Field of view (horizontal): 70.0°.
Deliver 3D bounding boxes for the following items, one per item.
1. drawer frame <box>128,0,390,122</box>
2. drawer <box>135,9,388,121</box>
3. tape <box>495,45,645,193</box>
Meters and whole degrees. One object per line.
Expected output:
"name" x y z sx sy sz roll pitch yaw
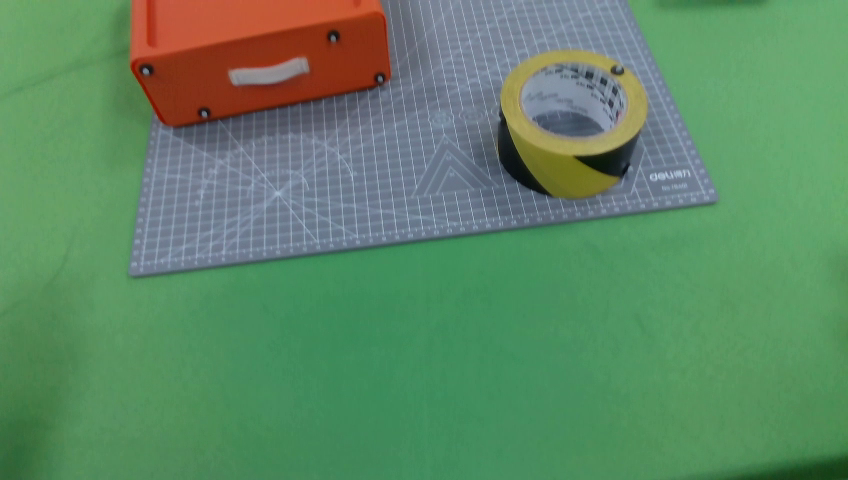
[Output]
"drawer frame" -0.152 -0.223 0.548 0.202 0.083 0.211 -14 58 -6
"drawer" -0.150 -0.221 0.548 0.195 0.074 0.209 -14 58 -6
"tape" 0.114 -0.096 0.479 0.117 0.053 0.116 -1 59 2
